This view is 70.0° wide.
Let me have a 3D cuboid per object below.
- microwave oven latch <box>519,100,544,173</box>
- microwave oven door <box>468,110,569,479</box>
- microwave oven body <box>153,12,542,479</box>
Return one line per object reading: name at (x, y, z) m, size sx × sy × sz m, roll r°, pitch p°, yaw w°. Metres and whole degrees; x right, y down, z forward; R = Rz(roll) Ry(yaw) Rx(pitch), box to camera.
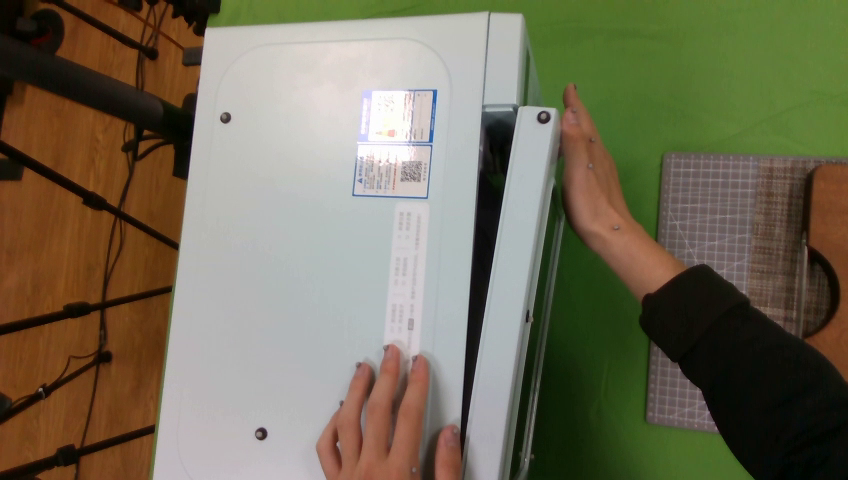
microwave oven latch at (0.123, -0.119, 0.696) m, size 0.030 × 0.029 × 0.079 m, roll 3°, pitch 84°, yaw 16°
microwave oven door at (0.091, 0.085, 0.573) m, size 0.039 × 0.245 × 0.355 m, roll 7°, pitch 85°, yaw 17°
microwave oven body at (-0.059, 0.038, 0.626) m, size 0.325 × 0.261 × 0.440 m, roll 2°, pitch 84°, yaw 15°
